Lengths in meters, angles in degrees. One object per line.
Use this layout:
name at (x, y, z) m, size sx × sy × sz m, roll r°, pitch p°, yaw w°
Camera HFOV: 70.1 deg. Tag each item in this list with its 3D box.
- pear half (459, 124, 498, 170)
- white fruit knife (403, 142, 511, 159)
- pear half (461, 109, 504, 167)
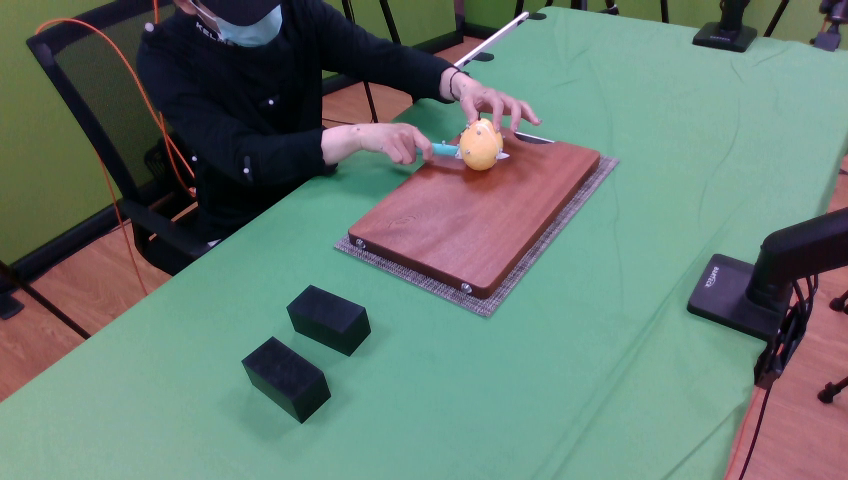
pear half at (0.091, -0.154, 1.039) m, size 0.070 × 0.088 × 0.031 m, roll 11°, pitch 47°, yaw 12°
white fruit knife at (0.056, -0.159, 1.074) m, size 0.206 × 0.027 × 0.016 m, roll 7°, pitch 42°, yaw 22°
pear half at (0.104, -0.187, 1.058) m, size 0.076 × 0.110 × 0.056 m, roll 9°, pitch 43°, yaw 13°
